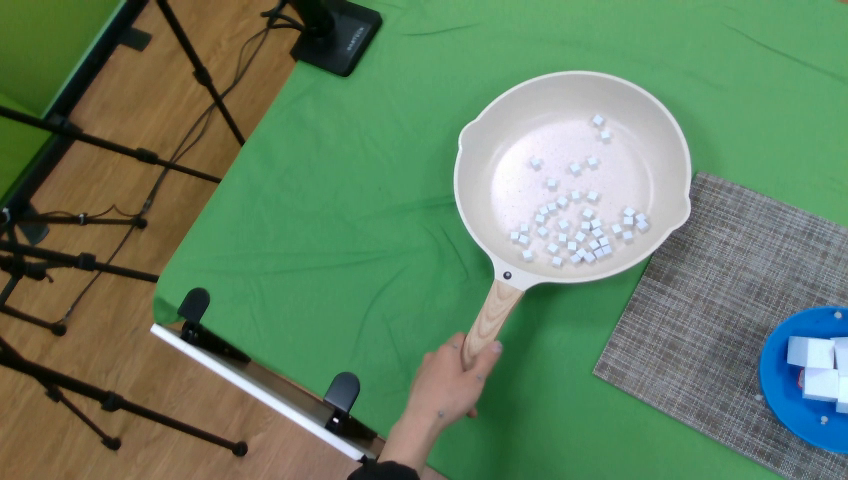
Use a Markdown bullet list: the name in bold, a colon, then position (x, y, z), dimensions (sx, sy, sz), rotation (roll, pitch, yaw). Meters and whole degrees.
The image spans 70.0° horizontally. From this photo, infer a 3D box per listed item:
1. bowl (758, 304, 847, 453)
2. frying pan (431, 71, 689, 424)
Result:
- **bowl**: position (0.432, 0.150, 0.648), dimensions (0.151, 0.077, 0.150), rotation (-4, 71, 13)
- **frying pan**: position (0.134, 0.007, 0.760), dimensions (0.305, 0.103, 0.486), rotation (25, 71, 21)
